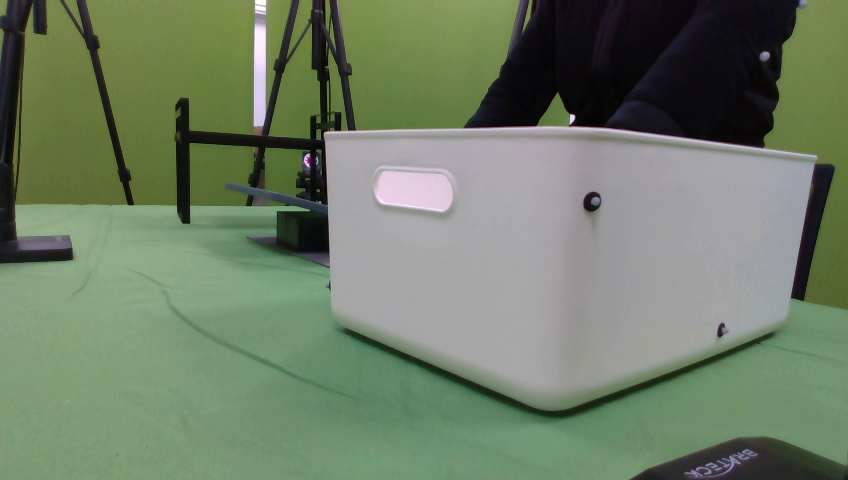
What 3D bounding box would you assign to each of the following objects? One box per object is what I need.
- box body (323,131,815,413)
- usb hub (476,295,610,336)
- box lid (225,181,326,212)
[{"bbox_3d":[0.125,-0.001,0.510,0.366,0.160,0.253,-4,10,-41],"label":"box body"},{"bbox_3d":[0.107,0.066,0.529,0.126,0.025,0.049,7,3,-41],"label":"usb hub"},{"bbox_3d":[-0.115,-0.039,0.996,0.374,0.015,0.262,13,1,-35],"label":"box lid"}]
